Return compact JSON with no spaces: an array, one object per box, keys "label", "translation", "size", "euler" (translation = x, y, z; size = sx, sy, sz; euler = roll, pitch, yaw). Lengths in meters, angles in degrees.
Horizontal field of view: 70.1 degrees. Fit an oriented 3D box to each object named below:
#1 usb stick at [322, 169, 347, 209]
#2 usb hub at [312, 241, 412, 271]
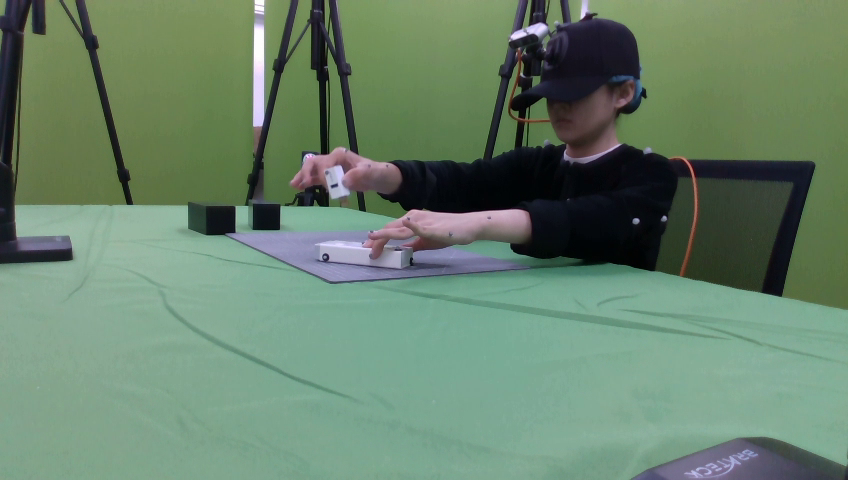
[{"label":"usb stick","translation":[-0.129,-0.073,0.880],"size":[0.021,0.059,0.027],"euler":[-12,8,15]},{"label":"usb hub","translation":[-0.082,0.020,0.803],"size":[0.125,0.025,0.049],"euler":[5,8,17]}]
